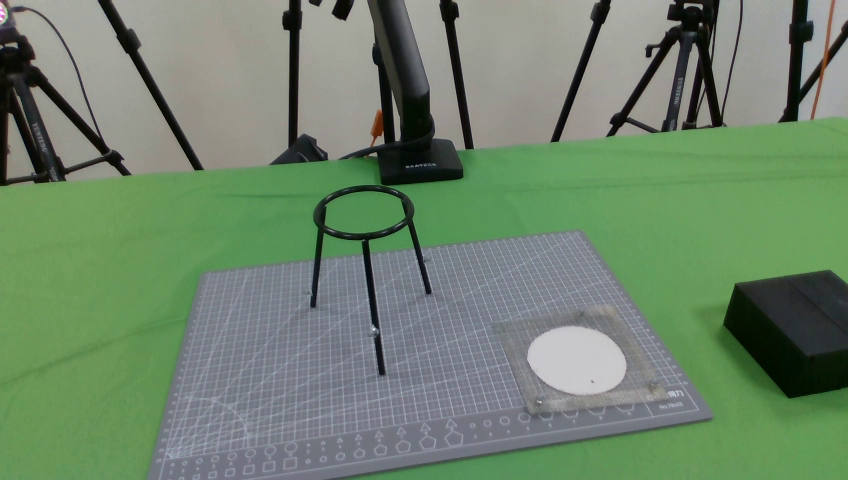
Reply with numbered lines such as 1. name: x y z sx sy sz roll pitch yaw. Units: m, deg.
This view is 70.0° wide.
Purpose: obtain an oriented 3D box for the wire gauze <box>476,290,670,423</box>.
1. wire gauze: 0.129 0.094 0.537 0.122 0.011 0.123 -16 42 -23

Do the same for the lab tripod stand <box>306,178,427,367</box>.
1. lab tripod stand: -0.053 0.022 0.566 0.148 0.132 0.147 0 35 0
